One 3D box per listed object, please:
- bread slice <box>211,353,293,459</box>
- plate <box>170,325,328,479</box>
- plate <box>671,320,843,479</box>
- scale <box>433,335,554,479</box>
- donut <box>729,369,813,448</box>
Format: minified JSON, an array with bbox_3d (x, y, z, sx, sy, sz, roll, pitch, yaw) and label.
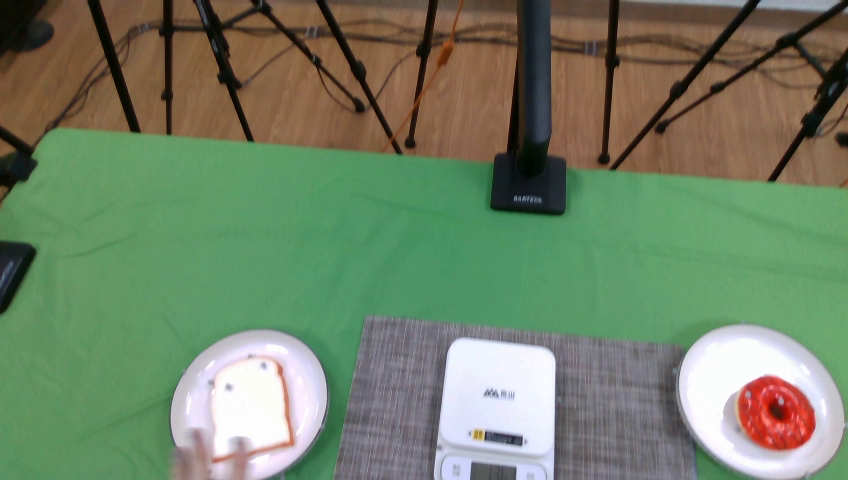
[{"bbox_3d":[-0.236,0.217,0.813,0.105,0.019,0.130,-13,59,-5],"label":"bread slice"},{"bbox_3d":[-0.230,0.216,0.812,0.209,0.038,0.207,-1,60,2],"label":"plate"},{"bbox_3d":[0.427,0.207,0.792,0.207,0.039,0.206,-1,60,2],"label":"plate"},{"bbox_3d":[0.094,0.226,0.793,0.148,0.032,0.199,5,61,5],"label":"scale"},{"bbox_3d":[0.442,0.215,0.773,0.099,0.048,0.098,0,64,1],"label":"donut"}]
